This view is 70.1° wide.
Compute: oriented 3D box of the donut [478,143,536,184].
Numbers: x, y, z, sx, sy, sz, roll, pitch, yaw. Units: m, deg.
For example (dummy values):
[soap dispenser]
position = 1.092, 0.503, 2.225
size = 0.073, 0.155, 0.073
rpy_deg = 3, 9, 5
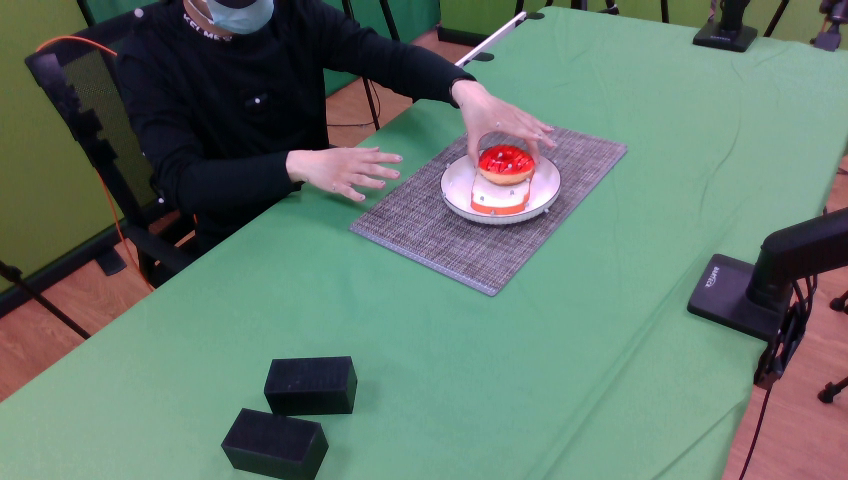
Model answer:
[donut]
position = 0.142, -0.132, 1.040
size = 0.099, 0.048, 0.098
rpy_deg = -3, 37, 3

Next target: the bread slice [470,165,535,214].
[bread slice]
position = 0.134, -0.090, 1.038
size = 0.104, 0.019, 0.131
rpy_deg = 4, 41, 12

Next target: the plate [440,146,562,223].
[plate]
position = 0.131, -0.093, 1.040
size = 0.207, 0.039, 0.206
rpy_deg = -4, 41, 4
